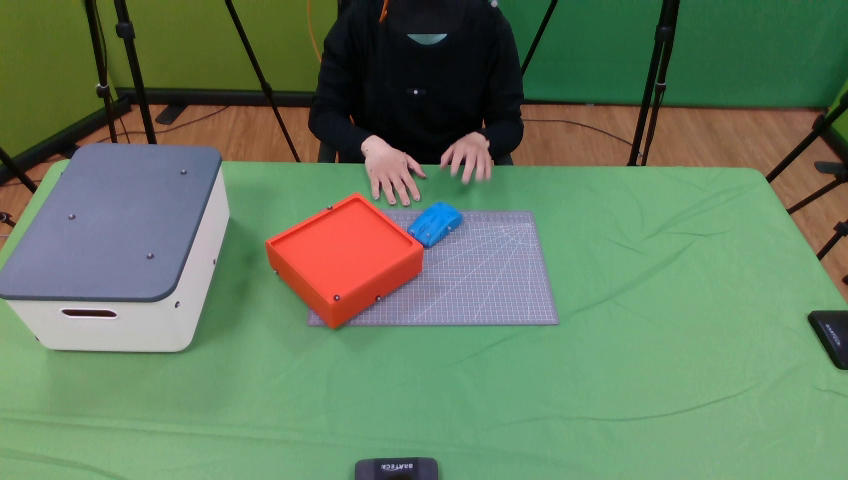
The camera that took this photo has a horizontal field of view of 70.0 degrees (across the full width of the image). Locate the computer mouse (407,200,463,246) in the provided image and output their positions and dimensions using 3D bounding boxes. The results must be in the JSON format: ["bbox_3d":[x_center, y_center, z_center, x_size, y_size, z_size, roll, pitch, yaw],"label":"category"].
[{"bbox_3d":[0.022,-0.037,1.220,0.062,0.041,0.117,37,59,25],"label":"computer mouse"}]

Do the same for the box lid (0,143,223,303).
[{"bbox_3d":[-0.499,-0.045,1.002,0.263,0.015,0.369,2,46,-3],"label":"box lid"}]

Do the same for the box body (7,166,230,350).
[{"bbox_3d":[-0.502,0.008,1.054,0.254,0.161,0.361,1,46,-3],"label":"box body"}]

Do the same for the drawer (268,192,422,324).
[{"bbox_3d":[-0.143,0.028,1.116,0.212,0.073,0.193,-33,57,-29],"label":"drawer"}]

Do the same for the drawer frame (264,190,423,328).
[{"bbox_3d":[-0.144,0.028,1.114,0.213,0.083,0.200,-34,57,-29],"label":"drawer frame"}]
